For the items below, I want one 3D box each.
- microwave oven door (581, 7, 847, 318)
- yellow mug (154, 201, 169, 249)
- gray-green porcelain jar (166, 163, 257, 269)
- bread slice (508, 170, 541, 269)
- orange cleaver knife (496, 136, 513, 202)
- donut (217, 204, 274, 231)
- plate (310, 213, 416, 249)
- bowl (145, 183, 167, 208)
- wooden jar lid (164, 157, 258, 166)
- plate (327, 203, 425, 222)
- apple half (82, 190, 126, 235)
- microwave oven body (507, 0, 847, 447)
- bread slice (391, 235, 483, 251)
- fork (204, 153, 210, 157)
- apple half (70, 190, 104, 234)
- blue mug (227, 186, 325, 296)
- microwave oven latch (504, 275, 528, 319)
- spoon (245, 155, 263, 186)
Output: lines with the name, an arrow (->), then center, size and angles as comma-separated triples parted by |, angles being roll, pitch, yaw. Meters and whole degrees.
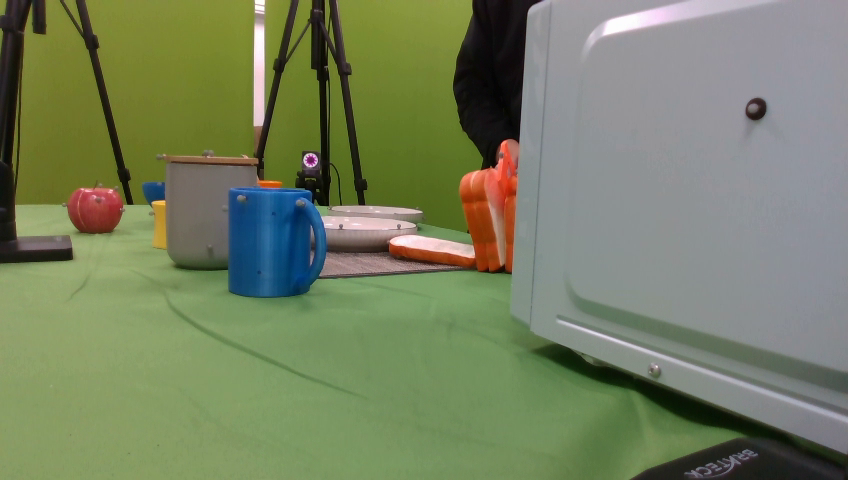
microwave oven door -> 0.295, -0.067, 0.569 | 0.358, 0.243, 0.039 | -3, 8, -31
yellow mug -> -0.338, -0.022, 0.899 | 0.130, 0.064, 0.100 | 8, 9, 34
gray-green porcelain jar -> -0.263, -0.031, 0.754 | 0.106, 0.126, 0.106 | 2, 7, 0
bread slice -> 0.135, -0.028, 0.820 | 0.018, 0.134, 0.107 | -5, 1, 22
orange cleaver knife -> 0.128, -0.083, 0.852 | 0.012, 0.077, 0.212 | 2, -9, 20
donut -> -0.318, -0.038, 1.080 | 0.099, 0.048, 0.099 | 3, 7, 0
plate -> -0.116, -0.014, 0.967 | 0.208, 0.039, 0.207 | 2, 7, 0
bowl -> -0.459, -0.068, 1.175 | 0.151, 0.077, 0.151 | 3, 8, 0
wooden jar lid -> -0.261, -0.093, 0.746 | 0.108, 0.020, 0.108 | 0, 9, 0
plate -> -0.102, -0.053, 1.299 | 0.209, 0.038, 0.209 | 2, 8, 0
apple half -> -0.516, -0.046, 0.994 | 0.032, 0.081, 0.081 | 0, 6, 26
microwave oven body -> 0.331, -0.042, 0.425 | 0.444, 0.260, 0.324 | -2, 8, -31
bread slice -> 0.020, 0.004, 0.872 | 0.131, 0.019, 0.105 | 3, -2, 8
fork -> -0.480, -0.134, 1.411 | 0.028, 0.018, 0.207 | 1, -35, 0
apple half -> -0.552, -0.047, 1.009 | 0.053, 0.074, 0.081 | -1, 9, 26
blue mug -> -0.146, 0.000, 0.618 | 0.116, 0.106, 0.083 | 7, 9, 32
microwave oven latch -> 0.100, 0.042, 0.470 | 0.079, 0.029, 0.030 | -1, 7, -28
spoon -> -0.421, -0.150, 1.540 | 0.042, 0.193, 0.021 | -6, -34, -36
